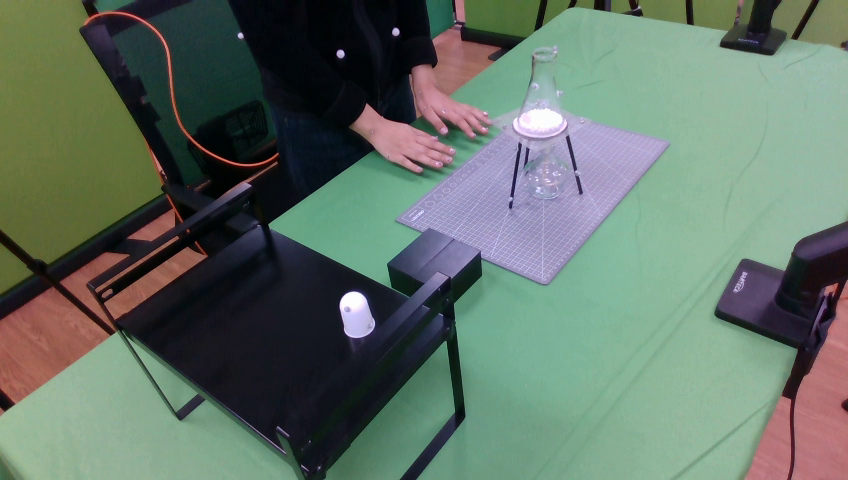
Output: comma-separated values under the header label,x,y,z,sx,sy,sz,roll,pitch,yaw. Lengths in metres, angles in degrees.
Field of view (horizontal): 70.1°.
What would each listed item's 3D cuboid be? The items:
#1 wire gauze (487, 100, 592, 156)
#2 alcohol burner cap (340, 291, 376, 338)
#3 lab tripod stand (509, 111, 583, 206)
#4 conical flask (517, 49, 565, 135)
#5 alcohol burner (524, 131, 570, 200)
label,x,y,z,sx,sy,sz,roll,pitch,yaw
wire gauze,0.185,-0.187,0.974,0.122,0.011,0.124,-28,47,-22
alcohol burner cap,-0.067,0.072,0.605,0.034,0.048,0.033,-5,42,5
lab tripod stand,0.198,-0.139,1.019,0.148,0.132,0.147,-3,39,3
conical flask,0.183,-0.231,0.936,0.075,0.122,0.075,-4,40,4
alcohol burner,0.208,-0.129,1.021,0.078,0.119,0.077,-4,39,4
